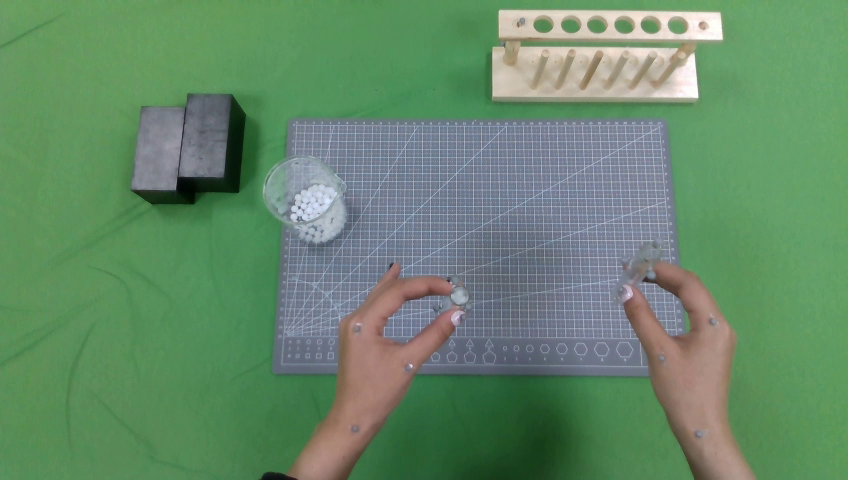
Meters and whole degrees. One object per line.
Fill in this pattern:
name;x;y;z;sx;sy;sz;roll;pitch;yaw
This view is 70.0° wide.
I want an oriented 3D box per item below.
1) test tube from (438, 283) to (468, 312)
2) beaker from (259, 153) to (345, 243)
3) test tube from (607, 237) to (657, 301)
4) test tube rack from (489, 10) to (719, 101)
test tube;0.023;0.050;0.509;0.017;0.151;0.017;0;81;-1
beaker;-0.123;-0.041;0.650;0.084;0.100;0.073;-7;77;-2
test tube;0.168;0.028;0.497;0.017;0.151;0.017;-2;72;8
test tube rack;0.199;-0.211;0.697;0.242;0.085;0.066;1;77;1
